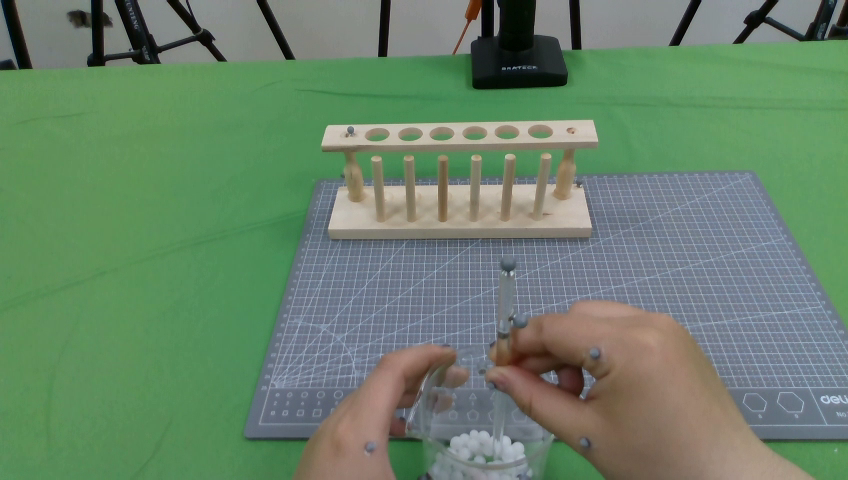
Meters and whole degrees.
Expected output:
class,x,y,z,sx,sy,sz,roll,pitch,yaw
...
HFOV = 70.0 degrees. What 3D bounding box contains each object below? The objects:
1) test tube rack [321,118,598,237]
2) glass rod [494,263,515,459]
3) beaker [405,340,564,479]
class,x,y,z,sx,sy,sz,roll,pitch,yaw
test tube rack,0.031,-0.056,0.557,0.242,0.086,0.066,0,43,4
glass rod,0.041,0.075,0.315,0.008,0.201,0.008,-3,50,3
beaker,0.031,0.119,0.347,0.084,0.101,0.073,-13,44,-12
